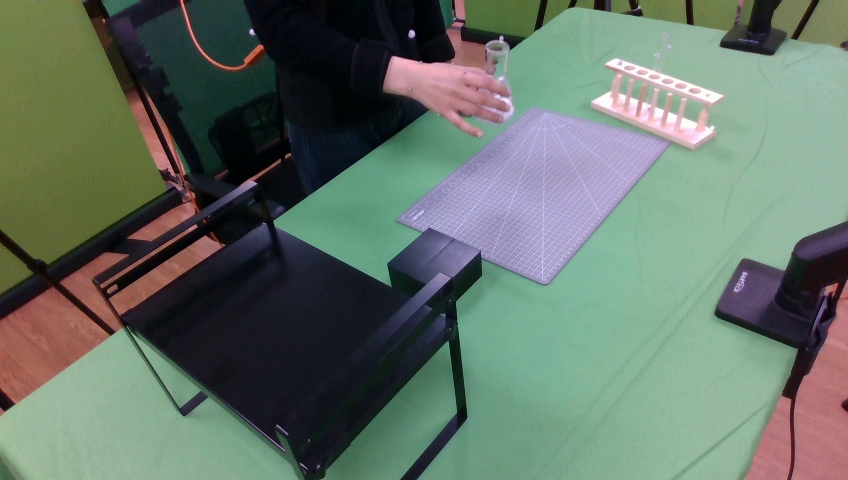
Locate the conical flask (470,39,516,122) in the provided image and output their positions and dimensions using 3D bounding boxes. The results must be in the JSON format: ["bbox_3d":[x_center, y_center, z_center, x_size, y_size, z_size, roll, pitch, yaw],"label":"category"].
[{"bbox_3d":[0.113,-0.253,0.958,0.075,0.122,0.075,0,48,1],"label":"conical flask"}]

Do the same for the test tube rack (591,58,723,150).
[{"bbox_3d":[0.442,-0.269,1.171,0.067,0.085,0.240,-30,46,-24],"label":"test tube rack"}]

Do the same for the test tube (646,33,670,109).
[{"bbox_3d":[0.445,-0.319,1.154,0.017,0.151,0.017,-1,41,2],"label":"test tube"}]
